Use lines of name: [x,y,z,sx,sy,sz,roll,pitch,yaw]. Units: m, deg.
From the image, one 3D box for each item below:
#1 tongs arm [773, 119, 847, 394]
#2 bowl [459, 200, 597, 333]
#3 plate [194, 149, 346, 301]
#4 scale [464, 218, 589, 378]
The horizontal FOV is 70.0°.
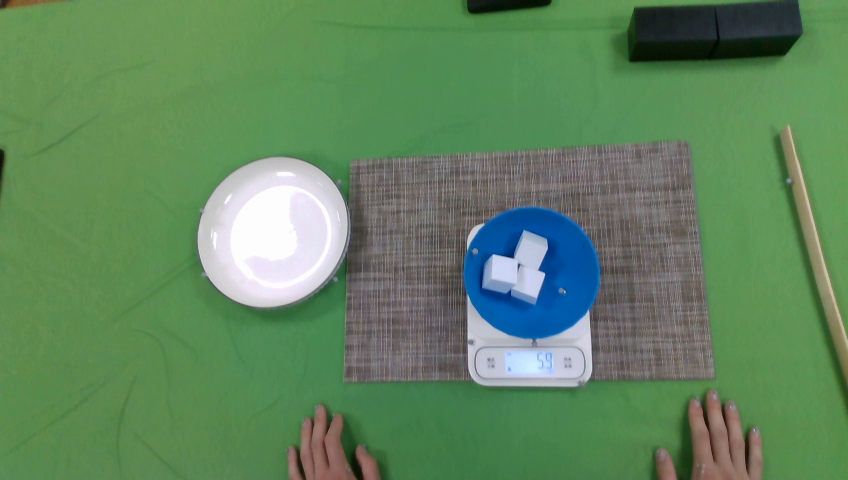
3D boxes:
tongs arm: [0.476,0.035,0.720,0.028,0.028,0.385,-9,75,4]
bowl: [0.118,0.036,0.702,0.151,0.077,0.150,-1,77,6]
plate: [-0.203,-0.019,0.812,0.207,0.039,0.206,-2,76,7]
scale: [0.124,0.068,0.748,0.148,0.032,0.200,-2,77,7]
